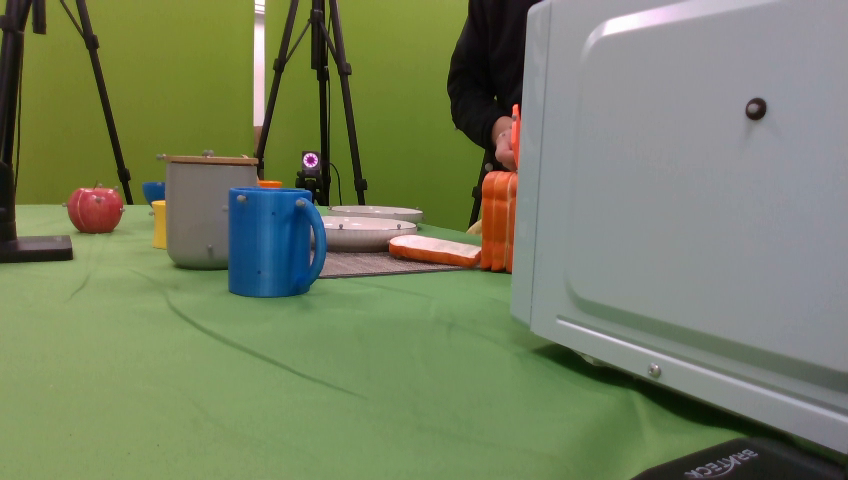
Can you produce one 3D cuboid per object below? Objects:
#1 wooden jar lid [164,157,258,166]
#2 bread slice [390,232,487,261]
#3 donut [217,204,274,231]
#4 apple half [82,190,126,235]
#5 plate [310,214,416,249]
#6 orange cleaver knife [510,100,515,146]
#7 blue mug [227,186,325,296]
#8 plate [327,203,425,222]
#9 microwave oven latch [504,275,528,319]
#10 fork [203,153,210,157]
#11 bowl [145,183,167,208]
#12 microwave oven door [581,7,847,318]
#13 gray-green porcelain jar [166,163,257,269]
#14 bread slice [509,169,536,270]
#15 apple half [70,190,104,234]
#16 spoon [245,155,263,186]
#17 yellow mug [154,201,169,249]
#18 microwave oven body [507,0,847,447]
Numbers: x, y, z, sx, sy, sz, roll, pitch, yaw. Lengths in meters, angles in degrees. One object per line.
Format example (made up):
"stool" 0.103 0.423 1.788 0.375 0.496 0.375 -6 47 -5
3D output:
"wooden jar lid" -0.261 -0.093 0.746 0.108 0.020 0.108 0 9 0
"bread slice" 0.019 0.008 0.862 0.131 0.019 0.105 7 9 15
"donut" -0.317 -0.038 1.080 0.099 0.048 0.099 3 7 0
"apple half" -0.516 -0.046 0.994 0.032 0.081 0.081 0 6 26
"plate" -0.116 -0.014 0.967 0.208 0.039 0.207 2 7 0
"orange cleaver knife" 0.139 -0.132 0.859 0.012 0.077 0.212 -1 -9 15
"blue mug" -0.146 0.000 0.618 0.116 0.106 0.083 7 9 32
"plate" -0.102 -0.053 1.299 0.209 0.038 0.209 2 8 0
"microwave oven latch" 0.100 0.042 0.471 0.079 0.029 0.030 -1 7 -28
"fork" -0.480 -0.135 1.411 0.028 0.018 0.207 1 -34 0
"bowl" -0.459 -0.068 1.175 0.151 0.077 0.151 3 7 0
"microwave oven door" 0.295 -0.067 0.569 0.358 0.243 0.039 -3 8 -31
"gray-green porcelain jar" -0.263 -0.031 0.754 0.106 0.126 0.106 2 7 0
"bread slice" 0.134 -0.029 0.822 0.018 0.134 0.107 1 8 21
"apple half" -0.552 -0.047 1.009 0.053 0.074 0.081 -1 9 26
"spoon" -0.421 -0.150 1.540 0.042 0.021 0.193 -5 55 -37
"yellow mug" -0.337 -0.022 0.899 0.130 0.064 0.100 8 9 34
"microwave oven body" 0.331 -0.042 0.425 0.444 0.260 0.324 -2 8 -31
